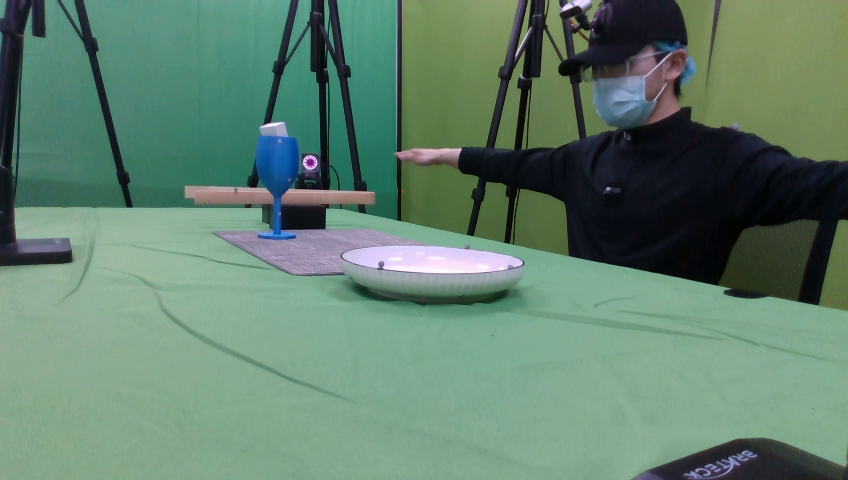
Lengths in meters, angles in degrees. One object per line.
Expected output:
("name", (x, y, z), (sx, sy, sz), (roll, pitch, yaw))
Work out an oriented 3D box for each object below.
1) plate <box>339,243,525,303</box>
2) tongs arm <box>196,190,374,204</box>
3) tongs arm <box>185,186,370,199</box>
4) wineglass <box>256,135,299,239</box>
("plate", (0.008, 0.035, 0.682), (0.209, 0.038, 0.209), (3, 7, 0))
("tongs arm", (-0.266, -0.086, 1.227), (0.387, 0.026, 0.050), (-2, 6, -33))
("tongs arm", (-0.304, -0.096, 1.297), (0.389, 0.028, 0.028), (0, 2, -20))
("wineglass", (-0.252, -0.091, 1.035), (0.074, 0.172, 0.073), (3, 7, 0))
